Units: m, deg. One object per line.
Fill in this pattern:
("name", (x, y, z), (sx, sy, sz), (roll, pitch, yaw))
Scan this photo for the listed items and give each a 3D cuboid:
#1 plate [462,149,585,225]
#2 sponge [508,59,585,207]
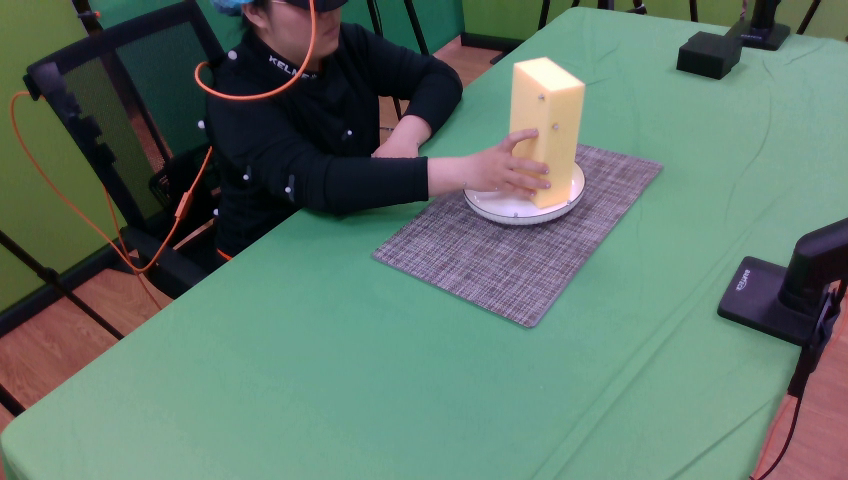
("plate", (0.170, -0.089, 1.041), (0.207, 0.039, 0.206), (-5, 40, 5))
("sponge", (0.195, -0.173, 0.989), (0.061, 0.207, 0.117), (-15, 39, -15))
